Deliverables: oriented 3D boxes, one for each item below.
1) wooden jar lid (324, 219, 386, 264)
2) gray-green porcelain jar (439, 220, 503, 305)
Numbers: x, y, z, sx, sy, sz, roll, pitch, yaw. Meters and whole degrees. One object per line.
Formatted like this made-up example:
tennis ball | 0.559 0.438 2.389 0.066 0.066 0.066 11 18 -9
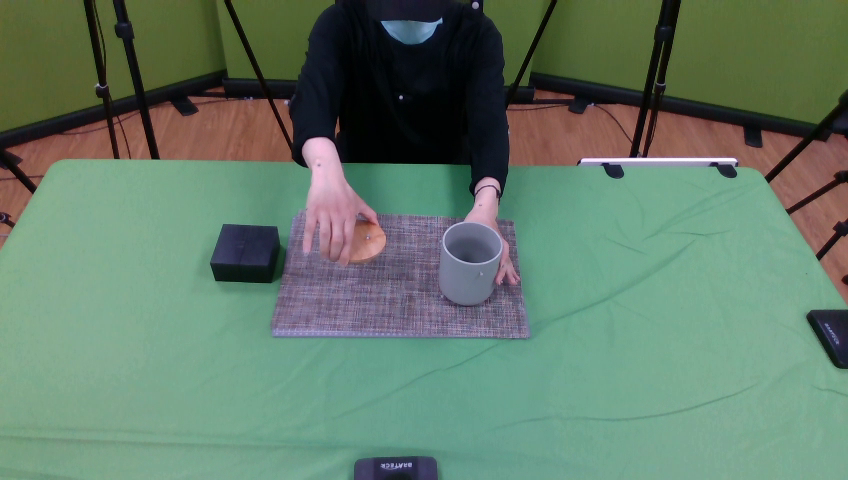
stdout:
wooden jar lid | -0.121 0.004 1.067 0.108 0.021 0.107 2 41 -2
gray-green porcelain jar | 0.080 0.046 1.078 0.106 0.127 0.105 2 46 -2
